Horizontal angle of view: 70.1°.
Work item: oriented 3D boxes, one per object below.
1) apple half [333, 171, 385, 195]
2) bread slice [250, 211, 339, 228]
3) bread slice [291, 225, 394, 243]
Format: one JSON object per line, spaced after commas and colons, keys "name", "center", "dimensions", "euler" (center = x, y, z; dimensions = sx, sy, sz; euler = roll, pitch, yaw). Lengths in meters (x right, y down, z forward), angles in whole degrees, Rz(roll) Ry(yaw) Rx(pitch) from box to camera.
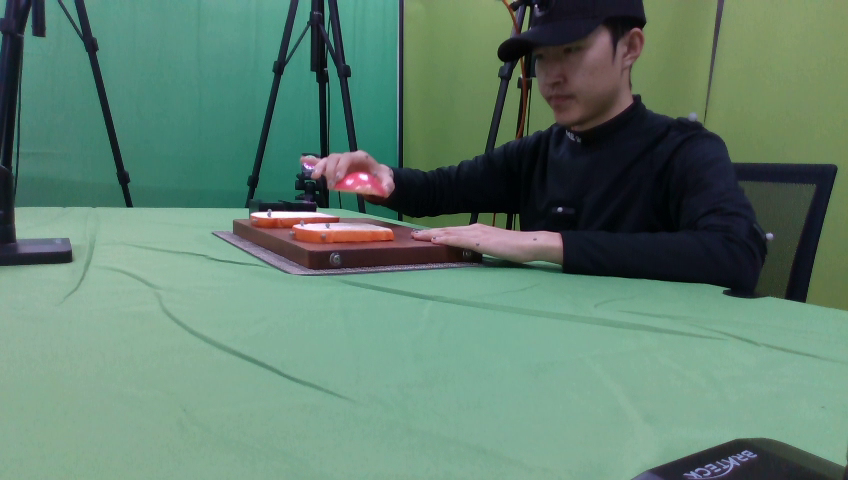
{"name": "apple half", "center": [-0.091, -0.086, 0.890], "dimensions": [0.081, 0.033, 0.081], "euler": [8, 0, 0]}
{"name": "bread slice", "center": [-0.223, -0.035, 1.021], "dimensions": [0.135, 0.018, 0.106], "euler": [-3, 9, -33]}
{"name": "bread slice", "center": [-0.122, -0.011, 0.869], "dimensions": [0.132, 0.019, 0.104], "euler": [-1, 6, -32]}
